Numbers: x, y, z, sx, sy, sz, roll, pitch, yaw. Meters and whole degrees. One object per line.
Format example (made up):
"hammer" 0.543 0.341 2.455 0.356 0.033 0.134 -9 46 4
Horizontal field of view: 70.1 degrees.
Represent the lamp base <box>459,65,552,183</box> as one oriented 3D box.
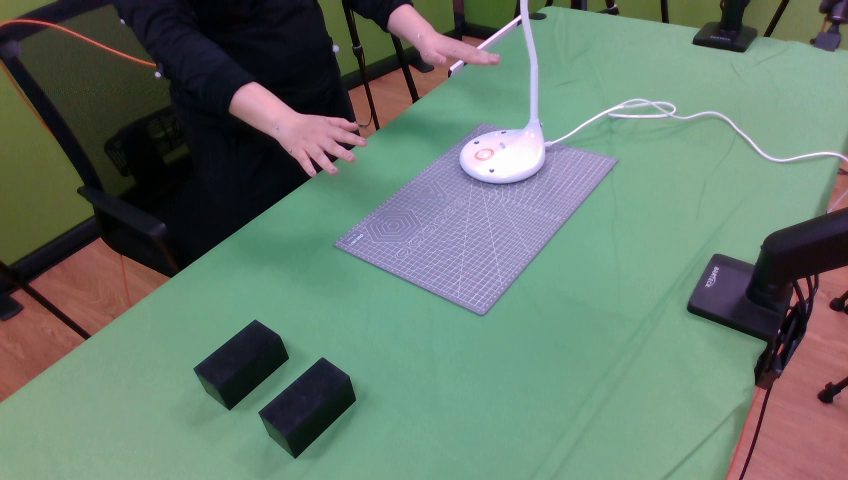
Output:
"lamp base" 0.149 -0.218 1.078 0.180 0.181 0.159 -19 42 -17
